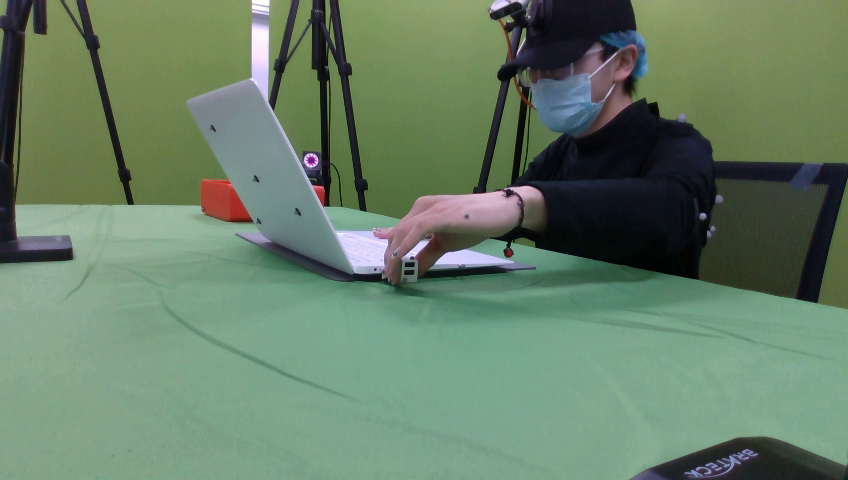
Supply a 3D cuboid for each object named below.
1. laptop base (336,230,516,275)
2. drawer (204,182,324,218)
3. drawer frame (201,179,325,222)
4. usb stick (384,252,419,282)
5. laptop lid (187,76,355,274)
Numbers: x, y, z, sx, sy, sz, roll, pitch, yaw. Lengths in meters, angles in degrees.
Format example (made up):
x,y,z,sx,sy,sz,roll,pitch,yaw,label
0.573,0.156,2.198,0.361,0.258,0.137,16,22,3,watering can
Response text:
x,y,z,sx,sy,sz,roll,pitch,yaw,label
-0.066,0.014,0.877,0.237,0.023,0.352,2,7,-32,laptop base
-0.360,-0.092,1.358,0.213,0.073,0.193,-3,10,-36,drawer
-0.361,-0.092,1.356,0.215,0.082,0.200,-4,10,-37,drawer frame
-0.029,0.029,0.673,0.021,0.027,0.059,-2,6,-30,usb stick
-0.211,-0.082,0.772,0.013,0.242,0.355,-34,25,-23,laptop lid
